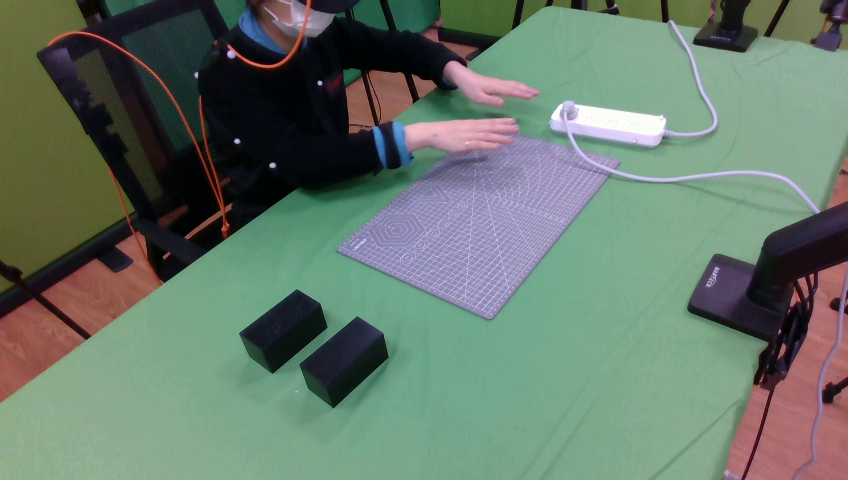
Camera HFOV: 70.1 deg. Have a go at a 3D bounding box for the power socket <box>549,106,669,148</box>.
[{"bbox_3d":[0.353,-0.223,1.169,0.225,0.033,0.072,16,46,24],"label":"power socket"}]

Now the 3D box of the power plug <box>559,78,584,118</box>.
[{"bbox_3d":[0.280,-0.269,1.158,0.035,0.073,0.052,-39,36,-20],"label":"power plug"}]
